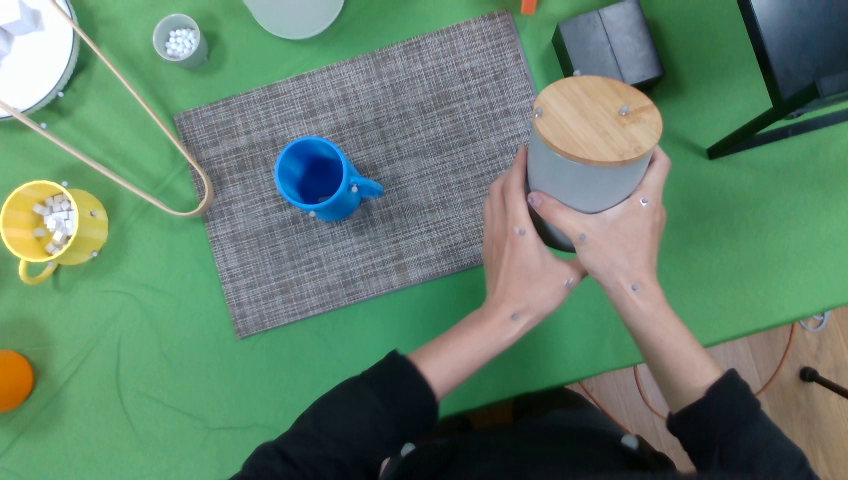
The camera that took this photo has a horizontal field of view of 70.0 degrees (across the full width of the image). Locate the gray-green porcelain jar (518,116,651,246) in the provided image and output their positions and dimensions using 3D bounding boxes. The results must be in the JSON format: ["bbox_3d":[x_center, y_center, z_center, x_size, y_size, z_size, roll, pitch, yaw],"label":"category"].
[{"bbox_3d":[0.144,-0.064,0.567,0.106,0.127,0.105,0,50,0],"label":"gray-green porcelain jar"}]

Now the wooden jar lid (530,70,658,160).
[{"bbox_3d":[0.143,-0.105,0.519,0.108,0.021,0.107,0,53,0],"label":"wooden jar lid"}]

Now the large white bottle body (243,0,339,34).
[{"bbox_3d":[-0.174,-0.337,0.702,0.130,0.185,0.130,0,85,3],"label":"large white bottle body"}]

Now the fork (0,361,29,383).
[{"bbox_3d":[-0.584,0.165,0.705,0.209,0.018,0.028,0,83,-41],"label":"fork"}]

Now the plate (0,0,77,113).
[{"bbox_3d":[-0.549,-0.264,0.788,0.207,0.039,0.207,0,87,3],"label":"plate"}]

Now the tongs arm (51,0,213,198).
[{"bbox_3d":[-0.392,-0.208,0.761,0.028,0.028,0.388,-41,92,-9],"label":"tongs arm"}]

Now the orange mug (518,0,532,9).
[{"bbox_3d":[0.130,-0.353,0.733,0.083,0.101,0.126,6,82,4],"label":"orange mug"}]

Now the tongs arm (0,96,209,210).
[{"bbox_3d":[-0.446,-0.144,0.756,0.385,0.026,0.050,35,85,-3],"label":"tongs arm"}]

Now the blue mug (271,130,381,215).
[{"bbox_3d":[-0.109,-0.075,0.718,0.116,0.106,0.082,8,86,3],"label":"blue mug"}]

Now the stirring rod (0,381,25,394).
[{"bbox_3d":[-0.571,0.180,0.706,0.006,0.177,0.014,-30,65,43],"label":"stirring rod"}]

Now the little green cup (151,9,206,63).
[{"bbox_3d":[-0.313,-0.259,0.776,0.061,0.038,0.061,0,87,2],"label":"little green cup"}]

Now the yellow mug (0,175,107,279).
[{"bbox_3d":[-0.467,-0.012,0.754,0.100,0.064,0.130,21,88,4],"label":"yellow mug"}]
